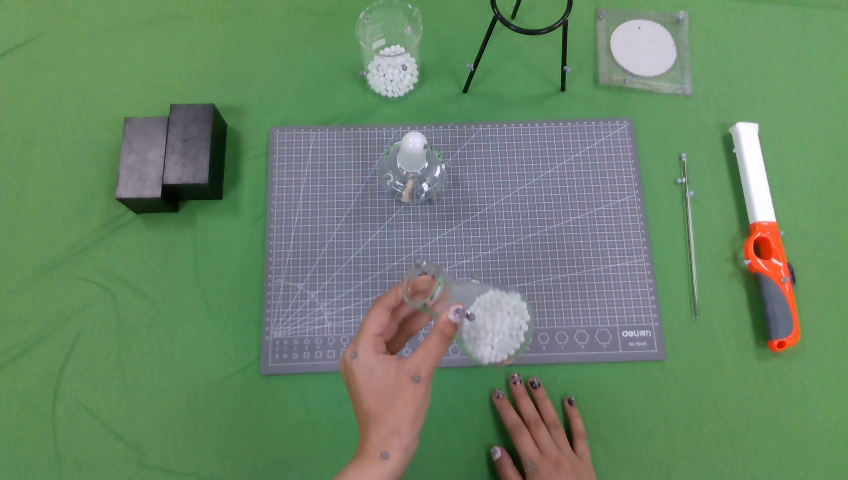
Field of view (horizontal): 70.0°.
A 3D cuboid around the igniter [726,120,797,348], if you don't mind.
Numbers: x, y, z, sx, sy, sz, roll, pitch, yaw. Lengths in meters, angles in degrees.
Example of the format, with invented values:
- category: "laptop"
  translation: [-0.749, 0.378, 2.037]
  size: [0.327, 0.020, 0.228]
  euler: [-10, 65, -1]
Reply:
- category: "igniter"
  translation: [0.395, -0.012, 0.711]
  size: [0.057, 0.025, 0.275]
  euler: [1, 74, -12]

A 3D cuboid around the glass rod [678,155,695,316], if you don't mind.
- category: "glass rod"
  translation: [0.310, -0.009, 0.718]
  size: [0.008, 0.008, 0.198]
  euler: [3, 74, 0]

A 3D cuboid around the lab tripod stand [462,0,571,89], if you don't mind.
- category: "lab tripod stand"
  translation: [0.111, -0.244, 0.715]
  size: [0.148, 0.132, 0.147]
  euler: [0, 76, -1]

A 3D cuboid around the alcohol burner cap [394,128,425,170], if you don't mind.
- category: "alcohol burner cap"
  translation: [-0.014, -0.099, 0.641]
  size: [0.034, 0.048, 0.033]
  euler: [3, 67, -8]

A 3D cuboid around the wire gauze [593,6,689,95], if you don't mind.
- category: "wire gauze"
  translation: [0.282, -0.250, 0.785]
  size: [0.125, 0.011, 0.121]
  euler: [5, 75, -2]

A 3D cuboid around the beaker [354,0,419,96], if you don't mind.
- category: "beaker"
  translation: [-0.040, -0.227, 0.725]
  size: [0.084, 0.101, 0.073]
  euler: [-42, 79, -12]

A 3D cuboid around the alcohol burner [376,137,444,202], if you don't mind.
- category: "alcohol burner"
  translation: [-0.015, -0.087, 0.676]
  size: [0.078, 0.119, 0.077]
  euler: [1, 73, -3]

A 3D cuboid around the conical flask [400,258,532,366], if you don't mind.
- category: "conical flask"
  translation: [0.031, 0.055, 0.498]
  size: [0.075, 0.123, 0.074]
  euler: [-18, 57, 31]
